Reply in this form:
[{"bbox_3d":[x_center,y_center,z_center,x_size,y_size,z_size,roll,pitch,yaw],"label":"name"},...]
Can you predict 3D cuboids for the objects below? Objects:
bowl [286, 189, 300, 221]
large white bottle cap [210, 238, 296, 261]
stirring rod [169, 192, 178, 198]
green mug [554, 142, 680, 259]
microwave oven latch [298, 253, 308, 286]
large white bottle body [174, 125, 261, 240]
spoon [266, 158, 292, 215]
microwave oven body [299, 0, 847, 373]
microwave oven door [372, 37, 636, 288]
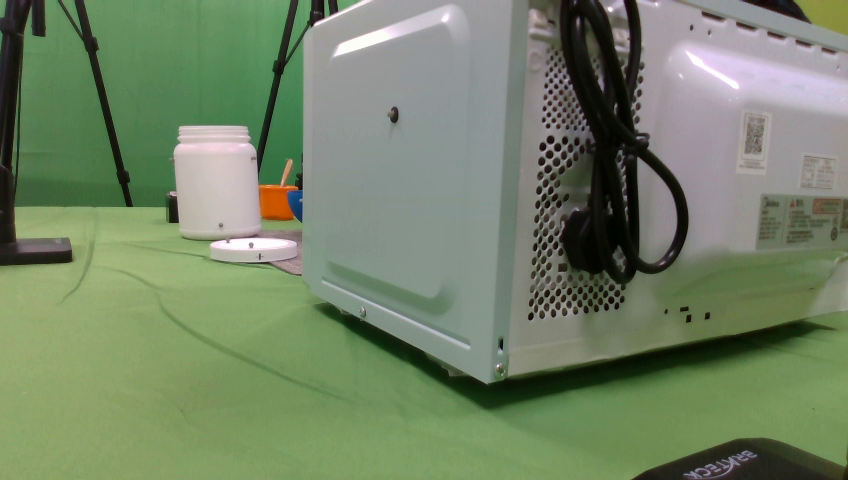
[{"bbox_3d":[-0.179,-0.051,1.115,0.151,0.077,0.151,3,8,0],"label":"bowl"},{"bbox_3d":[-0.236,0.012,0.839,0.115,0.018,0.115,2,7,0],"label":"large white bottle cap"},{"bbox_3d":[-0.465,-0.098,1.283,0.014,0.006,0.177,42,21,17],"label":"stirring rod"},{"bbox_3d":[0.181,-0.037,0.584,0.124,0.105,0.093,3,5,44],"label":"green mug"},{"bbox_3d":[-0.081,0.027,0.582,0.079,0.029,0.030,-1,7,-32],"label":"microwave oven latch"},{"bbox_3d":[-0.349,-0.100,1.025,0.131,0.184,0.130,-1,9,0],"label":"large white bottle body"},{"bbox_3d":[-0.334,-0.127,1.423,0.041,0.193,0.022,0,-37,7],"label":"spoon"},{"bbox_3d":[0.152,-0.055,0.542,0.444,0.260,0.324,-2,7,-33],"label":"microwave oven body"},{"bbox_3d":[0.110,-0.080,0.686,0.358,0.243,0.039,-2,9,-33],"label":"microwave oven door"}]
